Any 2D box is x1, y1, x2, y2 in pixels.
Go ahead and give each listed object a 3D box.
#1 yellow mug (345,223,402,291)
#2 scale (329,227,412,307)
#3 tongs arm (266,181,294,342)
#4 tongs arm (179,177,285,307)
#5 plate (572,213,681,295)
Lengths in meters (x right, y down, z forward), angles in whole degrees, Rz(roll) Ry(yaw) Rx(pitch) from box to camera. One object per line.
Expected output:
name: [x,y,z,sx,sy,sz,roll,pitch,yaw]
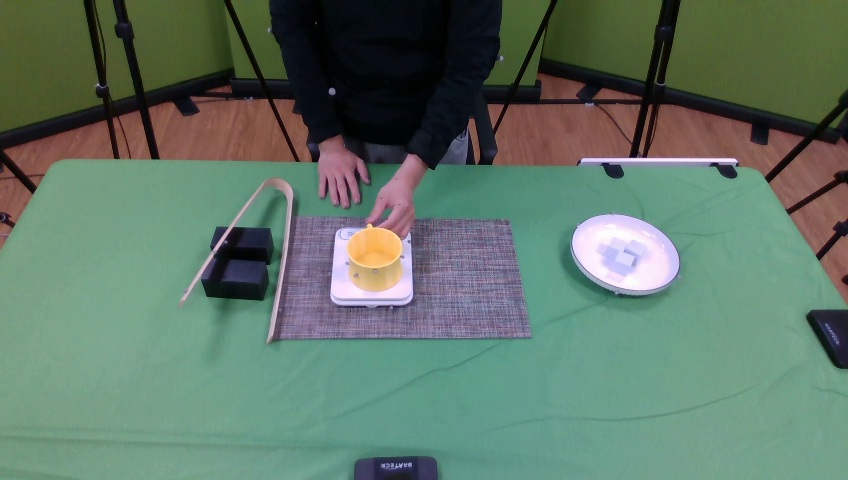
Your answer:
yellow mug: [-0.092,0.022,1.093,0.100,0.064,0.130,-8,46,-10]
scale: [-0.099,0.042,1.139,0.149,0.032,0.199,1,46,-4]
tongs arm: [-0.273,0.027,1.144,0.028,0.028,0.385,17,42,-22]
tongs arm: [-0.342,-0.008,1.117,0.051,0.026,0.382,29,38,-13]
plate: [0.392,0.030,1.189,0.208,0.039,0.206,2,46,-2]
